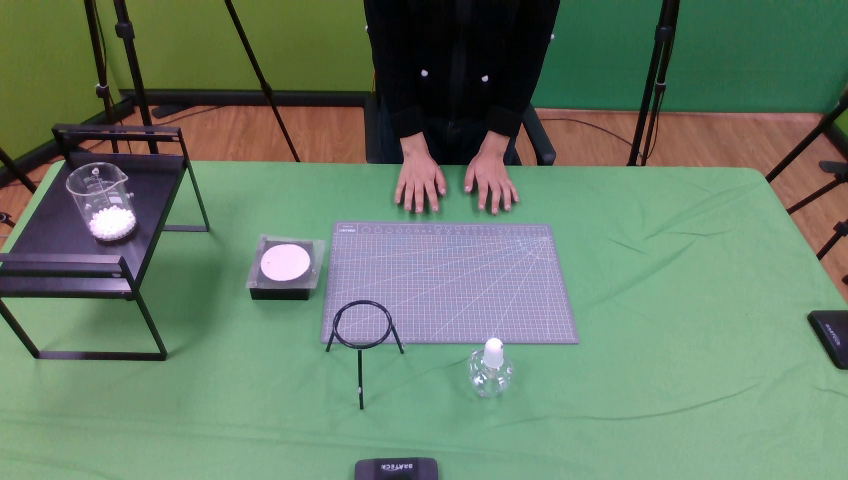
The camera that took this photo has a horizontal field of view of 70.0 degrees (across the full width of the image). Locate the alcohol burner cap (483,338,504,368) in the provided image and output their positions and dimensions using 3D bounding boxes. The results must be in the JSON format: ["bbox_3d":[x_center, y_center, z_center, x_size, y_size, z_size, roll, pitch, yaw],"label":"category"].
[{"bbox_3d":[0.108,0.169,0.928,0.034,0.048,0.033,0,41,0],"label":"alcohol burner cap"}]

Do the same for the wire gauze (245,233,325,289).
[{"bbox_3d":[-0.245,0.038,1.082,0.121,0.011,0.124,5,47,-3],"label":"wire gauze"}]

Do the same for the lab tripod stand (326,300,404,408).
[{"bbox_3d":[-0.099,0.167,0.950,0.148,0.132,0.147,1,47,-1],"label":"lab tripod stand"}]

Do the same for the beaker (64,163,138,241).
[{"bbox_3d":[-0.478,-0.055,0.910,0.084,0.101,0.073,-9,48,-13],"label":"beaker"}]

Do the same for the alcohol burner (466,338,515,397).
[{"bbox_3d":[0.106,0.194,0.952,0.078,0.120,0.077,1,45,0],"label":"alcohol burner"}]
